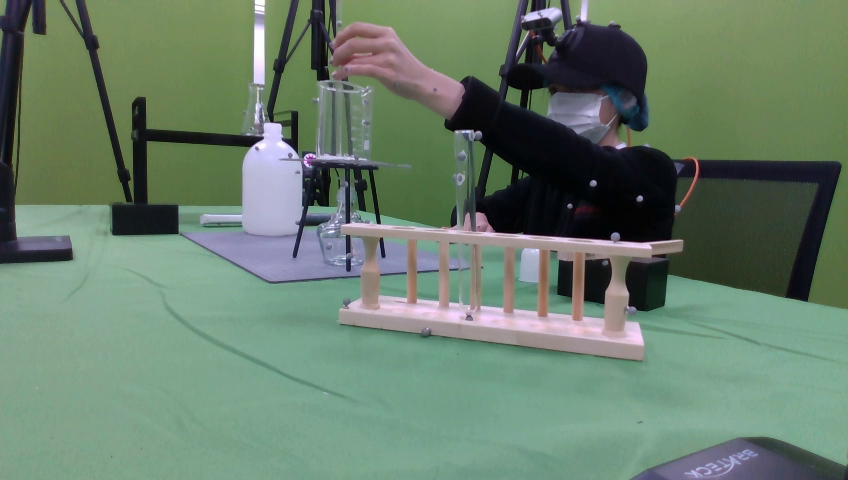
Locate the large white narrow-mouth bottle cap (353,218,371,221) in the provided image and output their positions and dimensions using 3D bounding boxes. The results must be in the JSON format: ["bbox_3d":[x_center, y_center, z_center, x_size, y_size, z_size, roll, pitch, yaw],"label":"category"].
[{"bbox_3d":[-0.121,-0.029,1.184,0.038,0.024,0.037,2,8,0],"label":"large white narrow-mouth bottle cap"}]

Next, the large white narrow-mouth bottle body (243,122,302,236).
[{"bbox_3d":[-0.264,-0.109,1.061,0.102,0.194,0.102,2,8,0],"label":"large white narrow-mouth bottle body"}]

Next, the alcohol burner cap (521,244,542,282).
[{"bbox_3d":[0.136,0.026,0.741,0.034,0.048,0.034,1,6,0],"label":"alcohol burner cap"}]

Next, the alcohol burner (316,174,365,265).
[{"bbox_3d":[-0.102,-0.028,0.790,0.078,0.119,0.078,0,6,0],"label":"alcohol burner"}]

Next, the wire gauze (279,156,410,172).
[{"bbox_3d":[-0.103,-0.103,0.785,0.121,0.011,0.126,11,8,42],"label":"wire gauze"}]

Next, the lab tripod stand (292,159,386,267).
[{"bbox_3d":[-0.105,-0.039,0.797,0.148,0.131,0.148,2,5,0],"label":"lab tripod stand"}]

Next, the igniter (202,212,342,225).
[{"bbox_3d":[-0.298,-0.043,1.216,0.278,0.025,0.057,-3,-2,-32],"label":"igniter"}]

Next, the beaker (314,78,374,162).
[{"bbox_3d":[-0.101,-0.150,0.773,0.074,0.100,0.083,-2,8,-40],"label":"beaker"}]

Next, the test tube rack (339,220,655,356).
[{"bbox_3d":[0.056,0.032,0.495,0.242,0.085,0.067,4,7,15],"label":"test tube rack"}]

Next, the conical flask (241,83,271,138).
[{"bbox_3d":[-0.384,-0.297,1.393,0.075,0.122,0.075,2,7,0],"label":"conical flask"}]

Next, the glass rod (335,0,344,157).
[{"bbox_3d":[-0.108,-0.206,0.776,0.008,0.199,0.008,1,16,0],"label":"glass rod"}]

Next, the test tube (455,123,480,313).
[{"bbox_3d":[0.034,-0.016,0.476,0.017,0.150,0.017,-2,9,1],"label":"test tube"}]

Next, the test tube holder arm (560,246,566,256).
[{"bbox_3d":[0.173,0.007,0.611,0.088,0.015,0.010,-3,10,-30],"label":"test tube holder arm"}]

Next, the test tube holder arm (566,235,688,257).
[{"bbox_3d":[0.215,0.006,0.629,0.179,0.015,0.013,-3,10,-30],"label":"test tube holder arm"}]
